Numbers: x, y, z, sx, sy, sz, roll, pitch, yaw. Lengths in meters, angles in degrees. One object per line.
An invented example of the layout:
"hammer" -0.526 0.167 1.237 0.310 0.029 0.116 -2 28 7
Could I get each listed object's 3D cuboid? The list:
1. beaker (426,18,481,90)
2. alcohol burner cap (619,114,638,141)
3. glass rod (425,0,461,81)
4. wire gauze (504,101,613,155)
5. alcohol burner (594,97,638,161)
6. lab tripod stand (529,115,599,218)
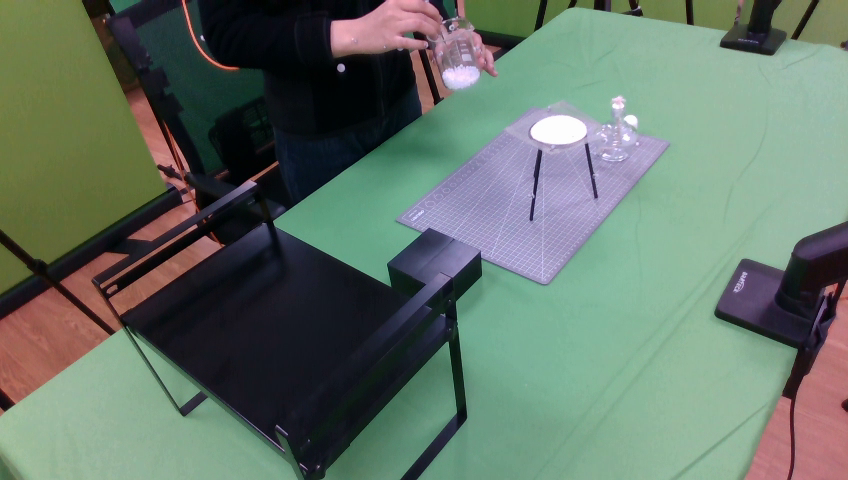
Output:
"beaker" 0.057 -0.317 1.038 0.083 0.101 0.074 -1 47 21
"alcohol burner cap" 0.388 -0.214 1.145 0.034 0.048 0.033 -3 39 3
"glass rod" 0.026 -0.341 0.986 0.008 0.201 0.008 -15 46 16
"wire gauze" 0.211 -0.176 0.955 0.125 0.011 0.120 -24 44 -18
"alcohol burner" 0.345 -0.203 1.083 0.078 0.119 0.077 -5 43 5
"lab tripod stand" 0.217 -0.123 0.995 0.148 0.132 0.147 -4 43 4
